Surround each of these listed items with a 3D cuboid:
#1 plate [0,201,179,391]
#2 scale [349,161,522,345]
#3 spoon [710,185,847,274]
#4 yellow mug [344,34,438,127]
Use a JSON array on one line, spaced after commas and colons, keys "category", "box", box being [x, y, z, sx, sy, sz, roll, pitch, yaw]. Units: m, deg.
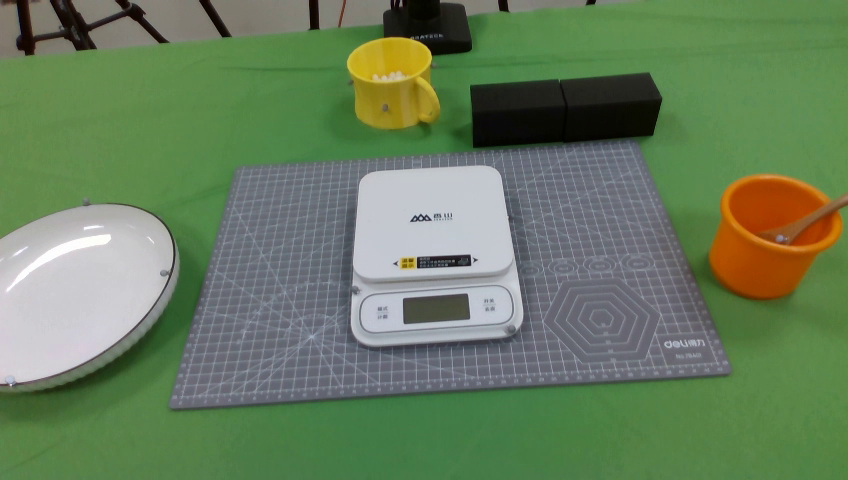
[{"category": "plate", "box": [-0.327, 0.048, 0.553, 0.209, 0.038, 0.207, -2, 48, 2]}, {"category": "scale", "box": [0.007, 0.004, 0.565, 0.148, 0.032, 0.199, -4, 48, 2]}, {"category": "spoon", "box": [0.325, -0.026, 0.490, 0.022, 0.194, 0.041, 25, 42, -33]}, {"category": "yellow mug", "box": [-0.031, -0.185, 0.721, 0.129, 0.064, 0.100, 35, 60, 30]}]
